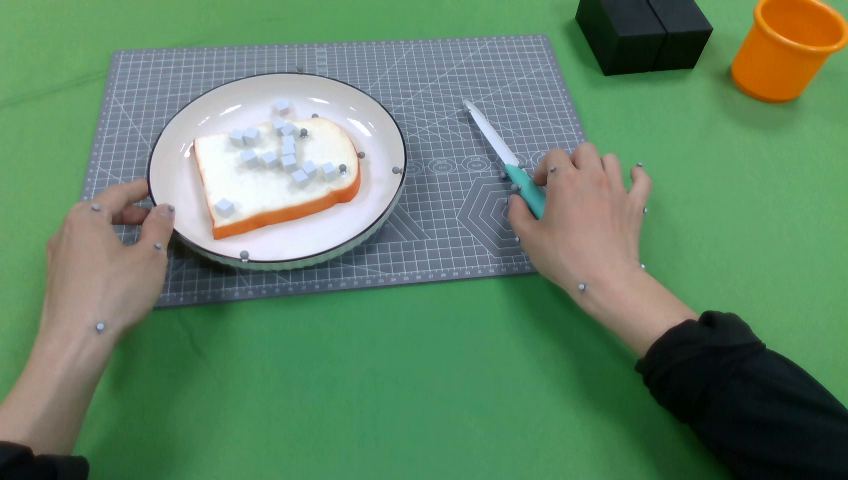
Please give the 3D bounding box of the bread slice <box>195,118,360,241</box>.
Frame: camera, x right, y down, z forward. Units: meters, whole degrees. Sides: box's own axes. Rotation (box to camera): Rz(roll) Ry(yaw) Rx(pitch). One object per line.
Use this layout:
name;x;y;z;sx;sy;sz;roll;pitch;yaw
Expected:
bread slice;-0.123;-0.061;0.515;0.132;0.019;0.104;-18;59;-15

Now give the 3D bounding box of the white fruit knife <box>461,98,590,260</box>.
white fruit knife;0.082;-0.062;0.543;0.027;0.016;0.205;1;47;-41

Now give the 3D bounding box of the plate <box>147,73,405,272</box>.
plate;-0.120;-0.058;0.511;0.209;0.038;0.207;2;56;-3
